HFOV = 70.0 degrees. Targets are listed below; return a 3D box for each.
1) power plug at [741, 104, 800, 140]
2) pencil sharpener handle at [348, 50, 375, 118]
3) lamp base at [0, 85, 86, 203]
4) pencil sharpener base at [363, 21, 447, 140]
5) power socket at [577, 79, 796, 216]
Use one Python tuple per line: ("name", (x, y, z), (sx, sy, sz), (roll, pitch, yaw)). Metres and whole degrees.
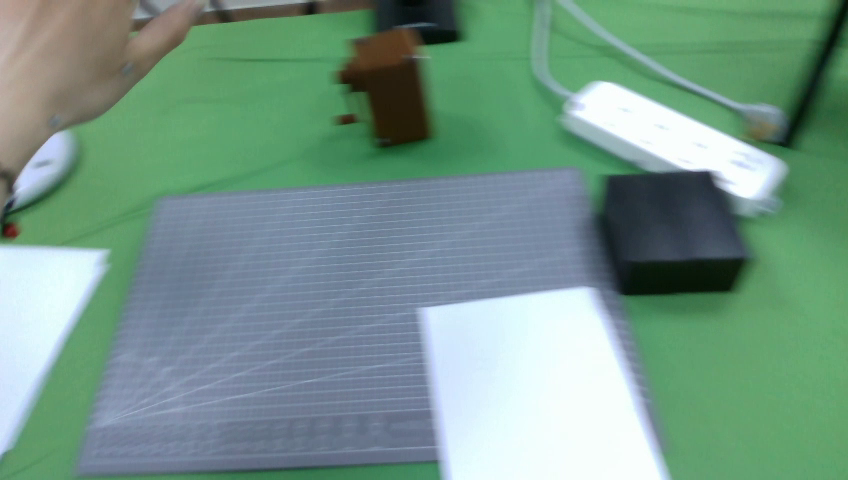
("power plug", (0.359, -0.122, 0.640), (0.053, 0.035, 0.072), (-29, 18, -22))
("pencil sharpener handle", (-0.070, -0.162, 0.636), (0.031, 0.068, 0.035), (-12, 30, -4))
("lamp base", (-0.481, -0.156, 0.637), (0.161, 0.182, 0.177), (-28, 51, -17))
("pencil sharpener base", (-0.020, -0.169, 0.653), (0.077, 0.108, 0.060), (-12, 52, -4))
("power socket", (0.263, -0.100, 0.620), (0.072, 0.033, 0.224), (-37, 57, -23))
